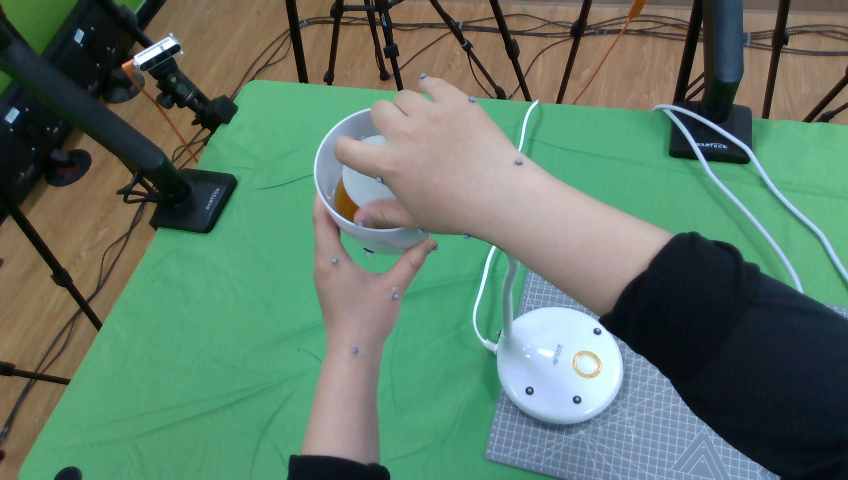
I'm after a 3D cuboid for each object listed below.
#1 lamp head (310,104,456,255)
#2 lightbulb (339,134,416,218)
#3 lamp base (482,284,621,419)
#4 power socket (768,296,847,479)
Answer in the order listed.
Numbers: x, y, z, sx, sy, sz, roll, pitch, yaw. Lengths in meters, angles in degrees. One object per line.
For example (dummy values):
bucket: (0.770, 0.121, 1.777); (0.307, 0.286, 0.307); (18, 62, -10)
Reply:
lamp head: (-0.028, -0.036, 0.518); (0.112, 0.124, 0.111); (-2, 66, 6)
lightbulb: (-0.036, -0.044, 0.487); (0.059, 0.108, 0.059); (0, 72, -1)
lamp base: (0.148, 0.112, 0.730); (0.178, 0.182, 0.159); (2, 58, 15)
power socket: (0.458, 0.167, 0.727); (0.072, 0.033, 0.225); (8, 59, 14)
